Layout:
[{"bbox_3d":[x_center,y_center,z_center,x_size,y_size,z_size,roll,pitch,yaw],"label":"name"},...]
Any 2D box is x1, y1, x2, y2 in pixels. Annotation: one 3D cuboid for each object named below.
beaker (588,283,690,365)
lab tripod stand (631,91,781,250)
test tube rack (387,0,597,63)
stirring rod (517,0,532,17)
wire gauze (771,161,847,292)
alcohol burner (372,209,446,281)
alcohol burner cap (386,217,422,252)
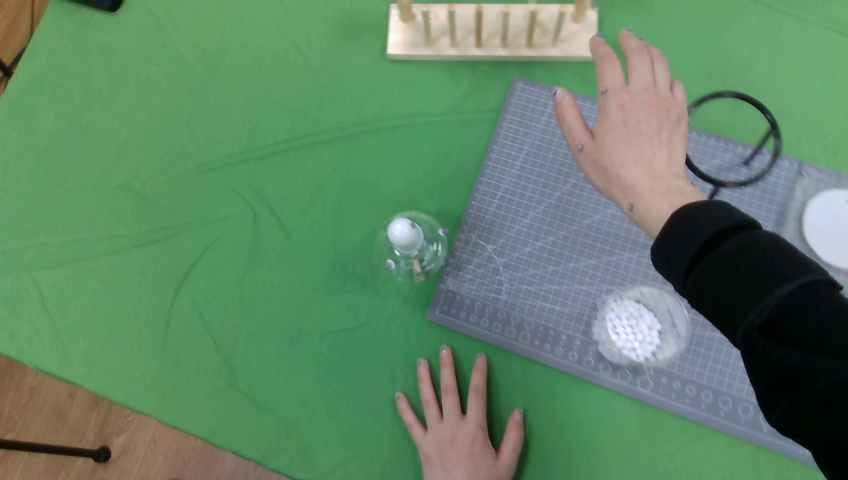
[{"bbox_3d":[0.199,0.083,0.588,0.083,0.101,0.074,26,81,11],"label":"beaker"},{"bbox_3d":[0.276,-0.072,0.595,0.148,0.132,0.148,-1,80,4],"label":"lab tripod stand"},{"bbox_3d":[0.075,-0.252,0.678,0.242,0.085,0.066,3,78,6],"label":"test tube rack"},{"bbox_3d":[0.113,-0.288,0.601,0.014,0.177,0.006,27,69,10],"label":"stirring rod"},{"bbox_3d":[0.437,-0.009,0.631,0.125,0.011,0.121,24,81,7],"label":"wire gauze"},{"bbox_3d":[-0.017,0.001,0.621,0.078,0.120,0.077,-1,76,4],"label":"alcohol burner"},{"bbox_3d":[-0.022,-0.007,0.586,0.034,0.048,0.033,-1,81,6],"label":"alcohol burner cap"}]
